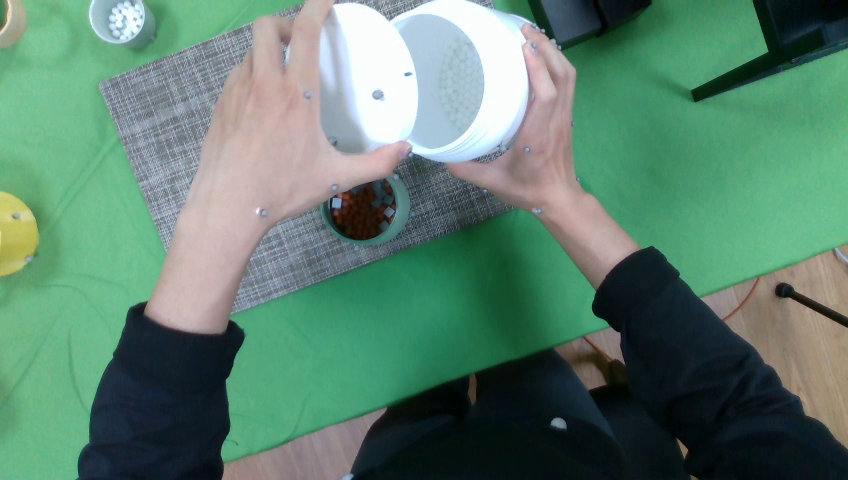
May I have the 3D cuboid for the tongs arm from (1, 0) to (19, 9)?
[{"bbox_3d":[-0.605,-0.329,0.632,0.387,0.028,0.028,22,87,0],"label":"tongs arm"}]

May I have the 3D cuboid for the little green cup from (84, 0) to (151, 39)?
[{"bbox_3d":[-0.335,-0.253,0.667,0.061,0.038,0.061,0,95,0],"label":"little green cup"}]

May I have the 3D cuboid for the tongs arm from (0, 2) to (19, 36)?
[{"bbox_3d":[-0.623,-0.248,0.637,0.385,0.026,0.051,8,91,1],"label":"tongs arm"}]

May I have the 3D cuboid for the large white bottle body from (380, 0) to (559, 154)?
[{"bbox_3d":[0.037,-0.147,0.537,0.130,0.185,0.131,7,107,24],"label":"large white bottle body"}]

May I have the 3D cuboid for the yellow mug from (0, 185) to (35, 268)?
[{"bbox_3d":[-0.506,0.001,0.673,0.100,0.064,0.131,12,95,-1],"label":"yellow mug"}]

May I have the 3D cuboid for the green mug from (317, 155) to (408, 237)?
[{"bbox_3d":[-0.067,-0.064,0.645,0.092,0.105,0.125,-4,94,1],"label":"green mug"}]

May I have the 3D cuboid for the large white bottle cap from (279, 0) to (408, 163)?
[{"bbox_3d":[-0.061,-0.113,0.441,0.114,0.018,0.115,16,120,32],"label":"large white bottle cap"}]
